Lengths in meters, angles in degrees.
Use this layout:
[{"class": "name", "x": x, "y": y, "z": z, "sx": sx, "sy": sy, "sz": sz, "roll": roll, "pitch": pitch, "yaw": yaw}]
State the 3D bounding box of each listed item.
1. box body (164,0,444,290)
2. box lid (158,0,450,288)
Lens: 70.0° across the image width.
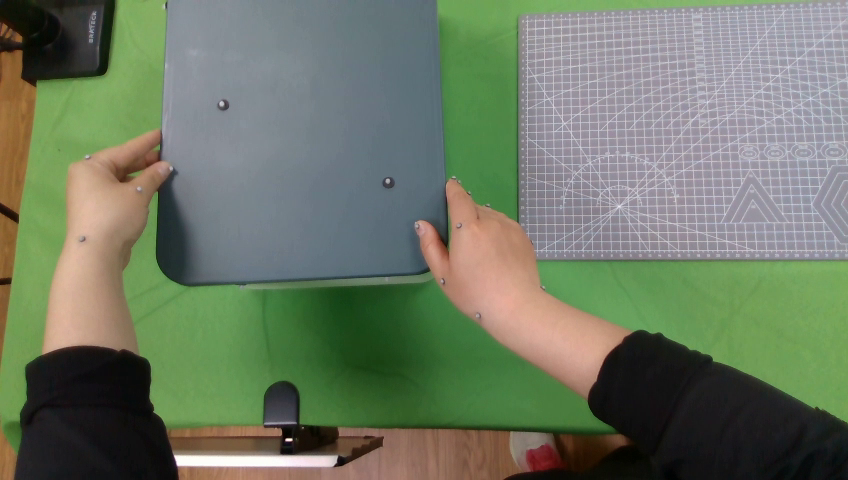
[{"class": "box body", "x": -0.110, "y": -0.130, "z": 0.652, "sx": 0.254, "sy": 0.161, "sz": 0.362, "roll": -3, "pitch": 79, "yaw": 6}, {"class": "box lid", "x": -0.115, "y": -0.144, "z": 0.567, "sx": 0.263, "sy": 0.015, "sz": 0.370, "roll": -4, "pitch": 79, "yaw": 2}]
